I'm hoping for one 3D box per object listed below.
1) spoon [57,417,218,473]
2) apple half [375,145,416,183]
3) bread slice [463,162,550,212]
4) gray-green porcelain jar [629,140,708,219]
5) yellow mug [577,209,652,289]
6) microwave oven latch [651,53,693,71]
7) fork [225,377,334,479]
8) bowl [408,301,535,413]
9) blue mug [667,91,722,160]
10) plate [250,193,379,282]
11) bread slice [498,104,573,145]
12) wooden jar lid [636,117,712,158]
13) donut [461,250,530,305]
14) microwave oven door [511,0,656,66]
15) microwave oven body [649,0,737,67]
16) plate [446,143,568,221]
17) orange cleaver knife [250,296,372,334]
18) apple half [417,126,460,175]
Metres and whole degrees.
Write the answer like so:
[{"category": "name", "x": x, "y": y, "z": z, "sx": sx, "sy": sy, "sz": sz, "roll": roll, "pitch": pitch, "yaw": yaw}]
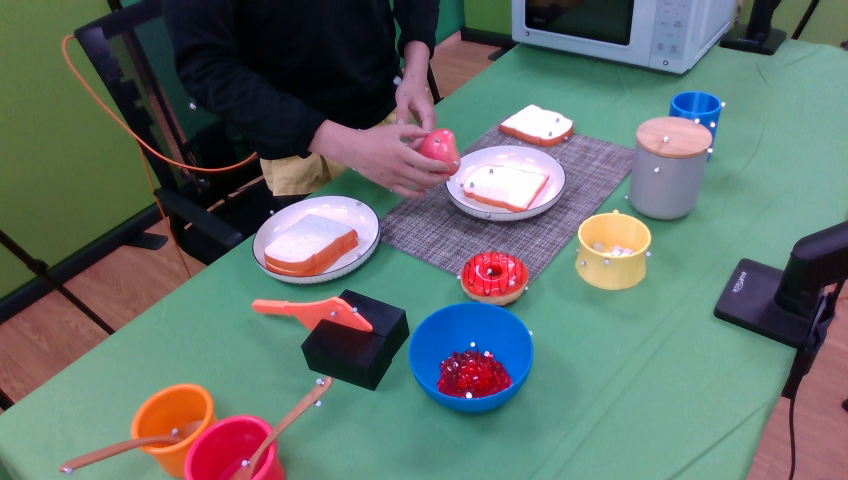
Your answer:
[{"category": "spoon", "x": -0.304, "y": 0.221, "z": 0.661, "sx": 0.041, "sy": 0.195, "sz": 0.021, "roll": 19, "pitch": 92, "yaw": 27}, {"category": "apple half", "x": -0.054, "y": -0.149, "z": 1.129, "sx": 0.074, "sy": 0.053, "sz": 0.080, "roll": -2, "pitch": 40, "yaw": 5}, {"category": "bread slice", "x": 0.136, "y": -0.094, "z": 1.045, "sx": 0.133, "sy": 0.018, "sz": 0.107, "roll": 15, "pitch": 44, "yaw": 23}, {"category": "gray-green porcelain jar", "x": 0.383, "y": -0.105, "z": 0.958, "sx": 0.106, "sy": 0.127, "sz": 0.105, "roll": -4, "pitch": 41, "yaw": 4}, {"category": "yellow mug", "x": 0.279, "y": 0.004, "z": 0.893, "sx": 0.099, "sy": 0.064, "sz": 0.130, "roll": 5, "pitch": 41, "yaw": 14}, {"category": "microwave oven latch", "x": 0.532, "y": -0.386, "z": 1.301, "sx": 0.078, "sy": 0.029, "sz": 0.030, "roll": 27, "pitch": 52, "yaw": 34}, {"category": "fork", "x": -0.163, "y": 0.216, "z": 0.646, "sx": 0.207, "sy": 0.019, "sz": 0.028, "roll": -49, "pitch": 42, "yaw": 16}, {"category": "bowl", "x": 0.059, "y": 0.156, "z": 0.739, "sx": 0.151, "sy": 0.077, "sz": 0.150, "roll": -4, "pitch": 40, "yaw": 4}, {"category": "blue mug", "x": 0.474, "y": -0.207, "z": 1.079, "sx": 0.082, "sy": 0.106, "sz": 0.116, "roll": 4, "pitch": 42, "yaw": 13}, {"category": "plate", "x": -0.174, "y": -0.001, "z": 0.984, "sx": 0.209, "sy": 0.038, "sz": 0.208, "roll": -3, "pitch": 40, "yaw": 3}, {"category": "bread slice", "x": 0.231, "y": -0.231, "z": 1.205, "sx": 0.105, "sy": 0.019, "sz": 0.130, "roll": -36, "pitch": 47, "yaw": -29}, {"category": "wooden jar lid", "x": 0.377, "y": -0.151, "z": 0.917, "sx": 0.108, "sy": 0.021, "sz": 0.108, "roll": -2, "pitch": 42, "yaw": 3}, {"category": "donut", "x": 0.103, "y": 0.053, "z": 0.872, "sx": 0.099, "sy": 0.048, "sz": 0.098, "roll": -4, "pitch": 40, "yaw": 4}, {"category": "microwave oven door", "x": 0.351, "y": -0.539, "z": 1.349, "sx": 0.353, "sy": 0.245, "sz": 0.039, "roll": 24, "pitch": 50, "yaw": 31}, {"category": "microwave oven body", "x": 0.475, "y": -0.602, "z": 1.411, "sx": 0.438, "sy": 0.261, "sz": 0.327, "roll": 23, "pitch": 50, "yaw": 32}, {"category": "plate", "x": 0.142, "y": -0.096, "z": 1.045, "sx": 0.207, "sy": 0.039, "sz": 0.206, "roll": -4, "pitch": 41, "yaw": 4}, {"category": "orange cleaver knife", "x": -0.158, "y": 0.103, "z": 0.828, "sx": 0.210, "sy": 0.078, "sz": 0.012, "roll": -4, "pitch": 43, "yaw": 39}, {"category": "apple half", "x": 0.015, "y": -0.134, "z": 0.937, "sx": 0.080, "sy": 0.081, "sz": 0.033, "roll": 22, "pitch": 25, "yaw": 30}]
